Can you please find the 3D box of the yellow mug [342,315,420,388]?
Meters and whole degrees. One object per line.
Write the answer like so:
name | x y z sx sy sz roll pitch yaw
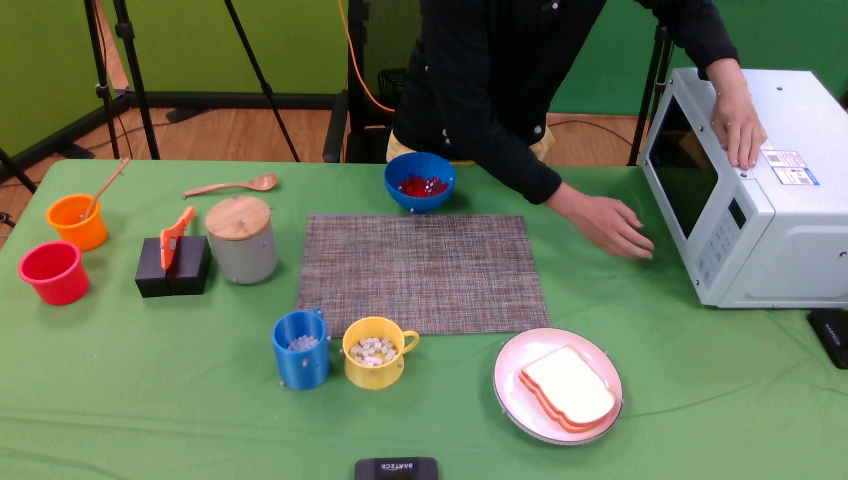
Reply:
yellow mug | -0.067 0.177 0.990 0.131 0.064 0.099 -16 50 -19

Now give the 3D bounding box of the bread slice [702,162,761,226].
bread slice | 0.648 -0.102 1.268 0.105 0.019 0.131 14 73 12

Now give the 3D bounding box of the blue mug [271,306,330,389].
blue mug | -0.188 0.163 0.969 0.082 0.106 0.116 15 47 10

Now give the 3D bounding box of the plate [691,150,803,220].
plate | 0.653 -0.108 1.237 0.209 0.038 0.208 0 45 1

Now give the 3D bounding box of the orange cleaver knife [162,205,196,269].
orange cleaver knife | -0.454 -0.010 1.129 0.012 0.077 0.210 -2 20 -5

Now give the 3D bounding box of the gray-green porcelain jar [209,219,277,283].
gray-green porcelain jar | -0.323 0.007 1.092 0.106 0.127 0.105 2 46 -2

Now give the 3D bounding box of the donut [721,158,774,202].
donut | 0.648 -0.121 1.216 0.099 0.048 0.098 -3 56 4

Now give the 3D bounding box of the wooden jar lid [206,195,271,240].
wooden jar lid | -0.319 -0.036 1.046 0.108 0.021 0.107 1 44 0

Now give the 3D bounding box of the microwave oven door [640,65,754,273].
microwave oven door | 0.523 -0.147 1.193 0.039 0.245 0.353 1 47 -3

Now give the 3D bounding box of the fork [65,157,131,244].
fork | -0.608 -0.074 1.133 0.207 0.019 0.028 -52 50 10

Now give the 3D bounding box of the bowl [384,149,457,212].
bowl | -0.009 -0.112 1.262 0.151 0.077 0.150 2 46 -2

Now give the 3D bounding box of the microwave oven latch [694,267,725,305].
microwave oven latch | 0.523 0.082 1.115 0.030 0.029 0.078 3 46 0

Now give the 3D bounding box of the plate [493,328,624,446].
plate | 0.213 0.236 0.974 0.208 0.039 0.206 2 46 -2

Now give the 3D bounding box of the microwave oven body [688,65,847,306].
microwave oven body | 0.669 -0.111 1.176 0.326 0.261 0.439 0 46 -3

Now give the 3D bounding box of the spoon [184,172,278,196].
spoon | -0.405 -0.116 1.275 0.194 0.022 0.041 -8 65 -12

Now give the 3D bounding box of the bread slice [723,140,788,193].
bread slice | 0.661 -0.148 1.201 0.107 0.018 0.133 -1 53 9
